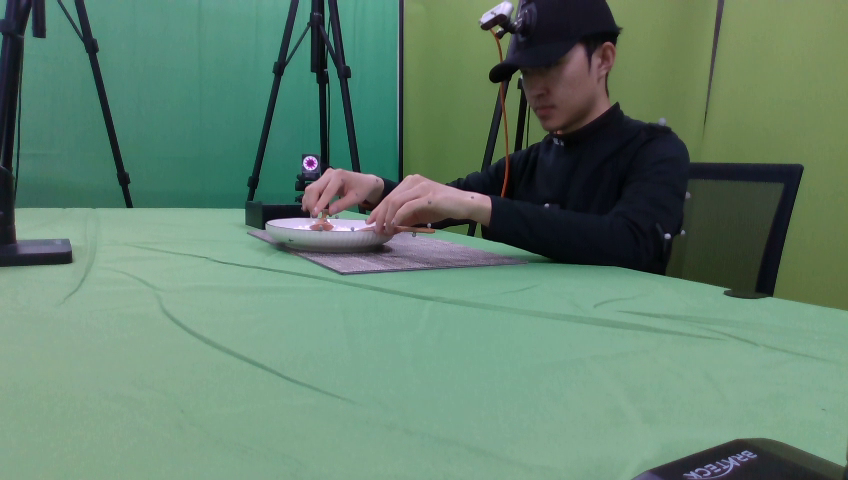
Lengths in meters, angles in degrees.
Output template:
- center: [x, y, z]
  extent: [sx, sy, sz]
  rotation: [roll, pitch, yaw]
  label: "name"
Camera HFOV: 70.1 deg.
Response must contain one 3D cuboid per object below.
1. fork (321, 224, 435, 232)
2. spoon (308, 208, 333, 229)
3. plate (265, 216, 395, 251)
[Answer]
- center: [-0.076, -0.015, 0.915]
  extent: [0.206, 0.018, 0.028]
  rotation: [-4, 8, 28]
  label: "fork"
- center: [-0.177, -0.041, 1.072]
  extent: [0.042, 0.021, 0.193]
  rotation: [-1, 15, -5]
  label: "spoon"
- center: [-0.150, -0.011, 0.977]
  extent: [0.209, 0.038, 0.209]
  rotation: [3, 8, 0]
  label: "plate"
